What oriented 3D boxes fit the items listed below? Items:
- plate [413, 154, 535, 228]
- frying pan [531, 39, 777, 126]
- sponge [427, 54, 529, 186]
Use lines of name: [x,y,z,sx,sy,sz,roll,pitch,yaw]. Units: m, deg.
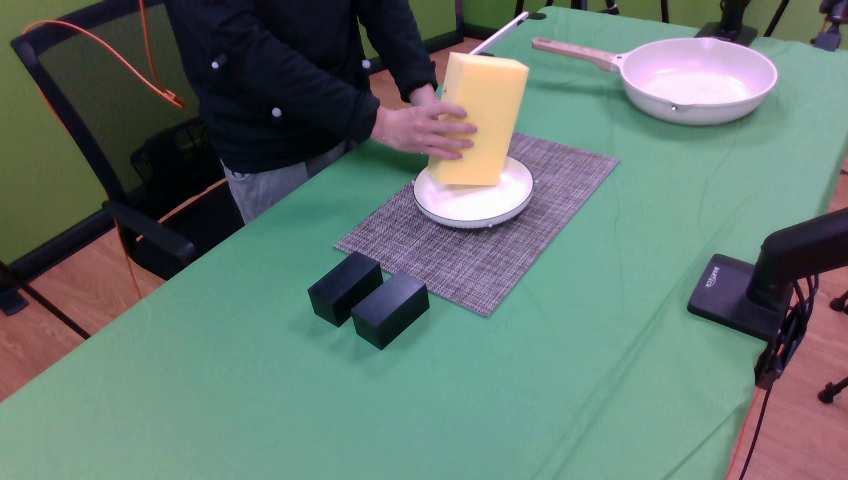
plate: [0.086,-0.085,1.038,0.207,0.039,0.206,-4,41,4]
frying pan: [0.452,-0.354,1.254,0.485,0.103,0.307,22,47,19]
sponge: [0.086,-0.196,1.010,0.119,0.207,0.060,1,29,-22]
